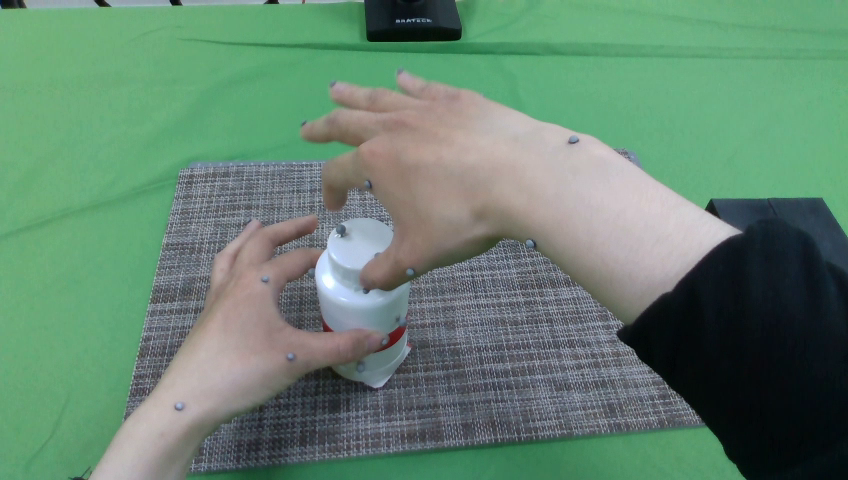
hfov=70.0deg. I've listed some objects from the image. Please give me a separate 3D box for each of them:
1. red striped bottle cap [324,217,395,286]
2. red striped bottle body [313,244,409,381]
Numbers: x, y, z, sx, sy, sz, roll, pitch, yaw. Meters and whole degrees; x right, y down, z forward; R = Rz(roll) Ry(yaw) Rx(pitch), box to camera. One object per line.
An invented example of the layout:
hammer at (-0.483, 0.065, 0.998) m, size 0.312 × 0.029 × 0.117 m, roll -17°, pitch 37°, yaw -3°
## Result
red striped bottle cap at (-0.041, 0.006, 0.380) m, size 0.044 × 0.018 × 0.044 m, roll 2°, pitch 50°, yaw -2°
red striped bottle body at (-0.043, 0.042, 0.420) m, size 0.063 × 0.120 × 0.062 m, roll 3°, pitch 48°, yaw -3°
